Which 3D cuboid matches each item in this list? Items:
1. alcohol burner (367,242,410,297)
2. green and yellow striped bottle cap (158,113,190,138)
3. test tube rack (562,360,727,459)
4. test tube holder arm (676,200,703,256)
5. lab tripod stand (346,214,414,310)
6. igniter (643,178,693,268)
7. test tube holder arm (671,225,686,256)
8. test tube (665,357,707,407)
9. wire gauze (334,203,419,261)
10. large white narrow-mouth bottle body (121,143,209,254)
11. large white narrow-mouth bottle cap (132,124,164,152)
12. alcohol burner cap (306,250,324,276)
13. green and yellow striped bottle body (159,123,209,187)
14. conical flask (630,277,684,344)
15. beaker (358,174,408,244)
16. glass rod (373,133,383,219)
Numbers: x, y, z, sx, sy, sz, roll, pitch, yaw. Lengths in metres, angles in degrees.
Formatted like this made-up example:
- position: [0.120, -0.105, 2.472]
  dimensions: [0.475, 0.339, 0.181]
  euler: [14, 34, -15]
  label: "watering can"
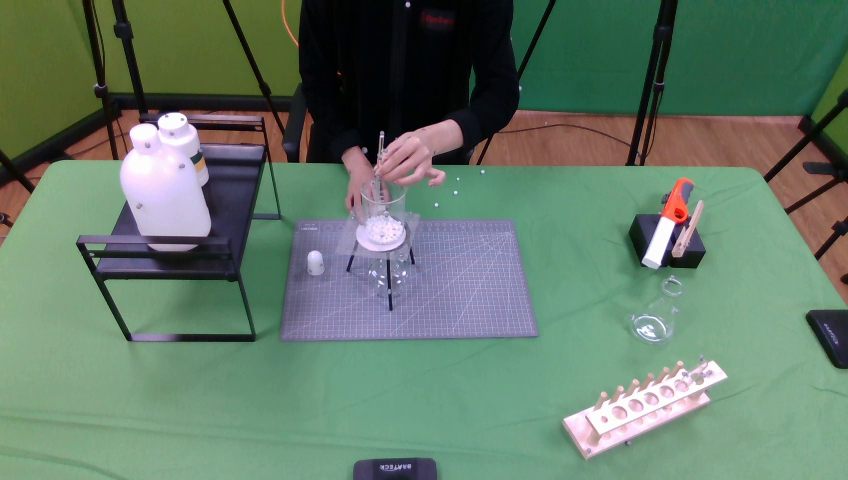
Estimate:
- position: [-0.064, 0.047, 1.080]
  dimensions: [0.078, 0.120, 0.077]
  euler: [1, 47, -1]
  label: "alcohol burner"
- position: [-0.393, -0.180, 0.951]
  dimensions: [0.045, 0.020, 0.045]
  euler: [2, 44, -2]
  label: "green and yellow striped bottle cap"
- position: [0.341, 0.247, 0.940]
  dimensions: [0.243, 0.085, 0.066]
  euler: [-16, 49, -18]
  label: "test tube rack"
- position: [0.523, -0.025, 1.190]
  dimensions: [0.013, 0.015, 0.178]
  euler: [1, 36, 41]
  label: "test tube holder arm"
- position: [-0.075, 0.030, 1.082]
  dimensions: [0.148, 0.132, 0.147]
  euler: [1, 47, -1]
  label: "lab tripod stand"
- position: [0.488, -0.042, 1.205]
  dimensions: [0.057, 0.025, 0.276]
  euler: [30, 51, 11]
  label: "igniter"
- position: [0.494, 0.001, 1.166]
  dimensions: [0.010, 0.015, 0.087]
  euler: [1, 36, 42]
  label: "test tube holder arm"
- position: [0.387, 0.215, 0.905]
  dimensions: [0.017, 0.151, 0.017]
  euler: [1, 52, -1]
  label: "test tube"
- position: [-0.079, -0.013, 1.031]
  dimensions: [0.121, 0.011, 0.124]
  euler: [8, 48, 7]
  label: "wire gauze"
- position: [-0.378, -0.077, 0.875]
  dimensions: [0.102, 0.195, 0.101]
  euler: [3, 46, -3]
  label: "large white narrow-mouth bottle body"
- position: [-0.370, -0.138, 0.812]
  dimensions: [0.038, 0.024, 0.037]
  euler: [3, 46, -3]
  label: "large white narrow-mouth bottle cap"
- position: [-0.204, 0.040, 1.125]
  dimensions: [0.034, 0.048, 0.033]
  euler: [2, 46, -2]
  label: "alcohol burner cap"
- position: [-0.395, -0.145, 0.989]
  dimensions: [0.063, 0.120, 0.063]
  euler: [2, 46, -2]
  label: "green and yellow striped bottle body"
- position: [0.408, 0.117, 1.045]
  dimensions: [0.075, 0.122, 0.075]
  euler: [2, 46, -2]
  label: "conical flask"
- position: [-0.066, -0.050, 1.001]
  dimensions: [0.084, 0.101, 0.073]
  euler: [-18, 49, -20]
  label: "beaker"
- position: [-0.073, -0.095, 0.955]
  dimensions: [0.008, 0.200, 0.008]
  euler: [4, 54, -5]
  label: "glass rod"
